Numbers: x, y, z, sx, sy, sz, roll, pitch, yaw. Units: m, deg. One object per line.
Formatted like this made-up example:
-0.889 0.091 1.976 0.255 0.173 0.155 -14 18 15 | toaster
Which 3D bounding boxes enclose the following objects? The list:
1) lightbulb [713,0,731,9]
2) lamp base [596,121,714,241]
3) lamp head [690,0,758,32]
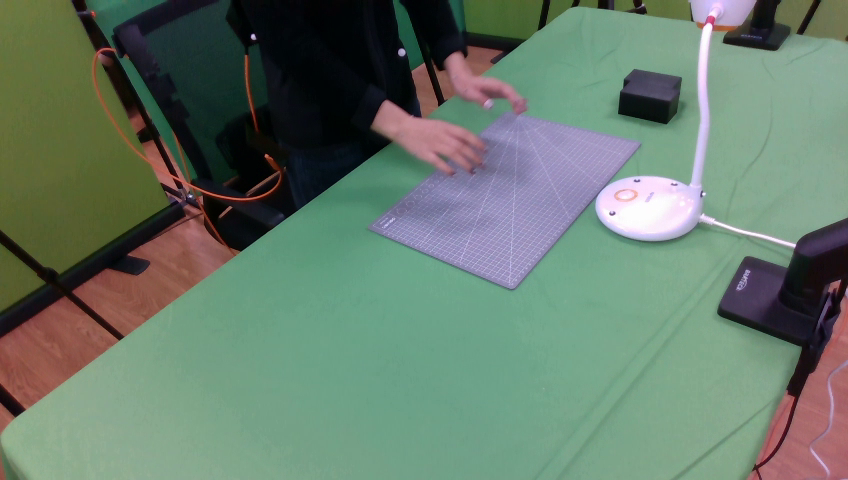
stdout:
0.432 -0.387 0.864 0.059 0.108 0.059 -5 31 4 | lightbulb
0.363 -0.110 0.921 0.178 0.181 0.160 13 45 21 | lamp base
0.434 -0.363 0.871 0.112 0.123 0.112 2 28 0 | lamp head
